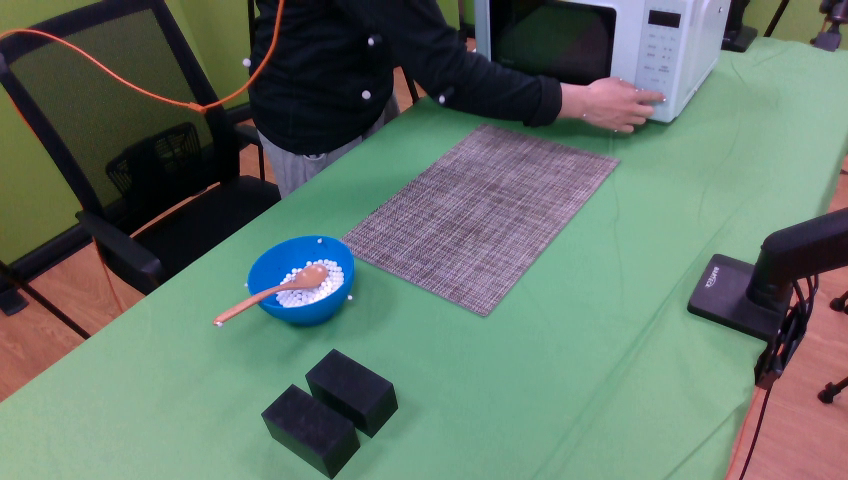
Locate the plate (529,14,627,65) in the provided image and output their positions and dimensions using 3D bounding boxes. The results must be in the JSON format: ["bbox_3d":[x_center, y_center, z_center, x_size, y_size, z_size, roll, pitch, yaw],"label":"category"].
[{"bbox_3d":[0.332,-0.433,1.318,0.207,0.039,0.206,-4,42,5],"label":"plate"}]

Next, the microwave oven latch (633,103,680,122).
[{"bbox_3d":[0.443,-0.249,1.158,0.078,0.029,0.030,21,49,30],"label":"microwave oven latch"}]

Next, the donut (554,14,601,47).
[{"bbox_3d":[0.328,-0.452,1.296,0.099,0.048,0.098,-5,46,5],"label":"donut"}]

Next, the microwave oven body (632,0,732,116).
[{"bbox_3d":[0.377,-0.463,1.267,0.438,0.261,0.327,21,49,30],"label":"microwave oven body"}]

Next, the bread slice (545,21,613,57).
[{"bbox_3d":[0.340,-0.439,1.313,0.134,0.018,0.106,-13,49,-5],"label":"bread slice"}]

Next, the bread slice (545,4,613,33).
[{"bbox_3d":[0.330,-0.473,1.280,0.131,0.019,0.104,-10,38,0],"label":"bread slice"}]

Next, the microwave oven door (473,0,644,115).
[{"bbox_3d":[0.257,-0.396,1.199,0.353,0.245,0.039,21,48,29],"label":"microwave oven door"}]

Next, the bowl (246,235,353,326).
[{"bbox_3d":[-0.170,0.070,0.868,0.151,0.077,0.150,-4,41,4],"label":"bowl"}]

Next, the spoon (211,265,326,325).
[{"bbox_3d":[-0.207,0.072,0.822,0.041,0.021,0.195,27,29,26],"label":"spoon"}]
